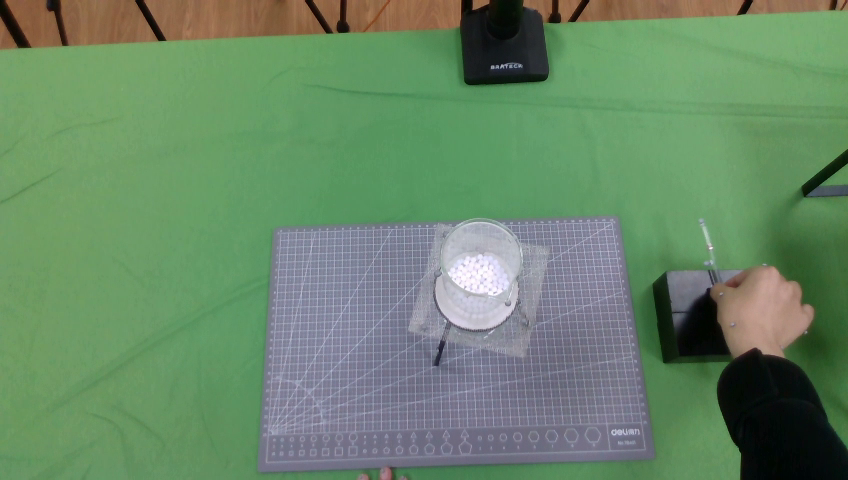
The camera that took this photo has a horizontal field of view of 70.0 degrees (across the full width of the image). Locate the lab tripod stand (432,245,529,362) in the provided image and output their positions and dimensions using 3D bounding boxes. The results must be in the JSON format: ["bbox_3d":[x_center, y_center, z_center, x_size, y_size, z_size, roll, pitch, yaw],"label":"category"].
[{"bbox_3d":[0.051,0.067,0.683,0.148,0.132,0.147,-1,69,3],"label":"lab tripod stand"}]

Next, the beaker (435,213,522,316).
[{"bbox_3d":[0.052,0.031,0.575,0.074,0.101,0.083,-28,72,-9],"label":"beaker"}]

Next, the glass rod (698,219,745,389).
[{"bbox_3d":[0.341,0.070,0.695,0.008,0.008,0.198,-6,73,-1],"label":"glass rod"}]

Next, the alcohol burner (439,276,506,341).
[{"bbox_3d":[0.055,0.074,0.691,0.078,0.120,0.077,-1,71,3],"label":"alcohol burner"}]

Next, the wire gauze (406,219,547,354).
[{"bbox_3d":[0.056,0.046,0.620,0.121,0.011,0.124,15,69,5],"label":"wire gauze"}]
